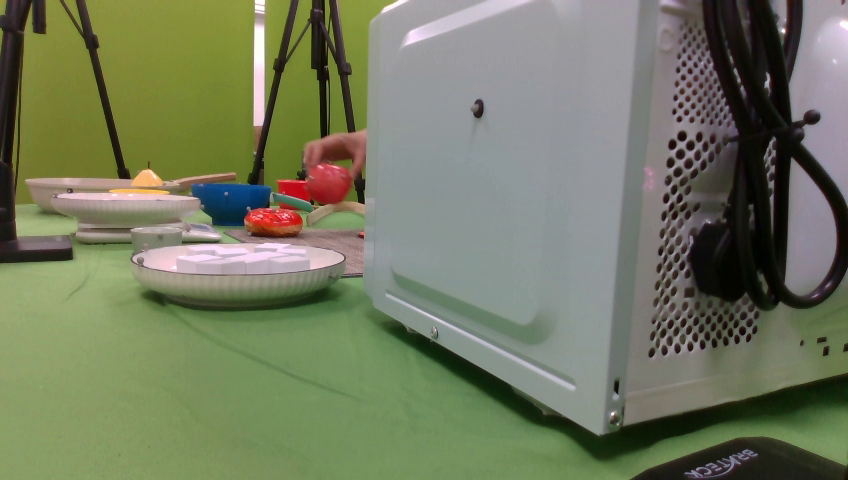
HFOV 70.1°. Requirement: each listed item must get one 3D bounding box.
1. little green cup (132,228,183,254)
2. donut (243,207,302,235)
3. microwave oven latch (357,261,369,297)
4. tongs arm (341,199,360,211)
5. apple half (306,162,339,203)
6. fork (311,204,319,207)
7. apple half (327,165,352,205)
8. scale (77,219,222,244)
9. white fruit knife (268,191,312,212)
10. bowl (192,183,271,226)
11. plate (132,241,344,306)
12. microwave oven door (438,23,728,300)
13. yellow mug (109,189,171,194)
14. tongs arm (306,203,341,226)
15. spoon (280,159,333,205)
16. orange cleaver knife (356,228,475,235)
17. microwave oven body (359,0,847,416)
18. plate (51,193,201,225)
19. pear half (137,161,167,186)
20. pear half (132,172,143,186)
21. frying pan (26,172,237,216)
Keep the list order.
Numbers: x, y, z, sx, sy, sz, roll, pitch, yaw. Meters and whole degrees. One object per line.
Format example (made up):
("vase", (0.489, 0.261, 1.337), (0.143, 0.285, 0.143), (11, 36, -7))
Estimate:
("little green cup", (-0.342, 0.006, 0.779), (0.061, 0.038, 0.061), (2, 8, 0))
("donut", (-0.261, -0.032, 1.043), (0.099, 0.048, 0.099), (4, 9, 0))
("microwave oven latch", (-0.019, 0.033, 0.530), (0.079, 0.029, 0.030), (-1, 7, -26))
("tongs arm", (-0.149, -0.070, 1.429), (0.051, 0.026, 0.383), (-4, 9, -14))
("apple half", (-0.189, -0.108, 1.118), (0.053, 0.074, 0.081), (6, 14, 13))
("fork", (-0.356, -0.105, 1.526), (0.208, 0.018, 0.028), (16, -6, -41))
("apple half", (-0.149, -0.102, 1.111), (0.033, 0.081, 0.081), (1, 7, 16))
("scale", (-0.434, -0.018, 0.963), (0.202, 0.031, 0.148), (-1, 9, -27))
("white fruit knife", (-0.364, -0.105, 1.464), (0.208, 0.027, 0.016), (15, 0, -34))
("bowl", (-0.382, -0.071, 1.202), (0.151, 0.077, 0.151), (3, 7, 0))
("plate", (-0.187, 0.033, 0.625), (0.208, 0.039, 0.207), (2, 7, 0))
("microwave oven door", (0.181, -0.073, 0.621), (0.358, 0.243, 0.039), (-2, 8, -29))
("yellow mug", (-0.519, -0.055, 1.080), (0.099, 0.064, 0.131), (7, 10, 26))
("tongs arm", (-0.234, -0.068, 1.414), (0.028, 0.028, 0.387), (-6, 8, 1))
("spoon", (-0.317, -0.159, 1.640), (0.194, 0.022, 0.041), (-49, 32, -20))
("orange cleaver knife", (-0.017, -0.015, 1.080), (0.211, 0.012, 0.077), (0, 2, -2))
("microwave oven body", (0.211, -0.047, 0.474), (0.444, 0.260, 0.324), (-1, 7, -28))
("plate", (-0.460, -0.050, 0.945), (0.209, 0.038, 0.209), (2, 7, 0))
("pear half", (-0.602, -0.120, 1.354), (0.056, 0.110, 0.076), (4, 11, 6))
("pear half", (-0.638, -0.113, 1.361), (0.031, 0.088, 0.070), (5, 11, 4))
("frying pan", (-0.624, -0.118, 1.387), (0.305, 0.102, 0.490), (8, 17, 32))
